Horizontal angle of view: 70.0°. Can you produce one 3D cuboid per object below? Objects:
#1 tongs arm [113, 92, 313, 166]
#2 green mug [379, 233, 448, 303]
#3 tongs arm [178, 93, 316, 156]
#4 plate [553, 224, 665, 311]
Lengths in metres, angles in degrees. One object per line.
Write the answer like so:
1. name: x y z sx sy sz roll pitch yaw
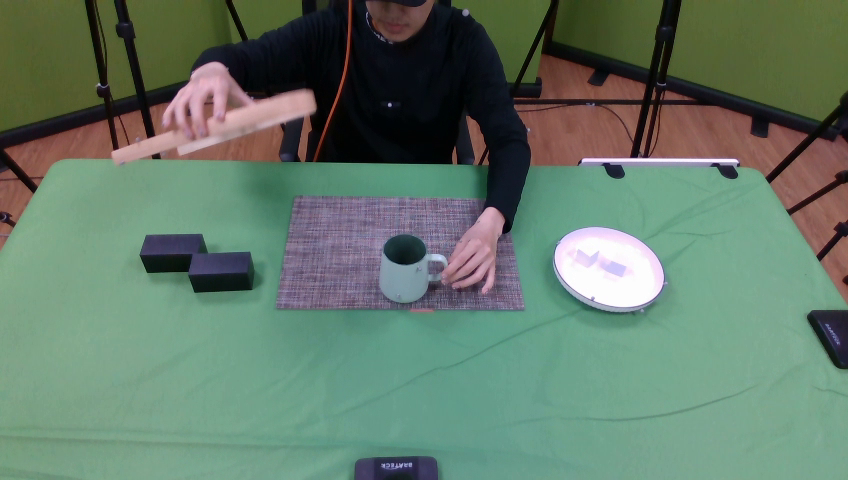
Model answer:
1. tongs arm: -0.336 -0.165 0.928 0.384 0.026 0.051 -9 8 29
2. green mug: -0.019 0.050 1.085 0.125 0.105 0.092 0 46 -4
3. tongs arm: -0.301 -0.182 0.986 0.386 0.028 0.028 -6 6 39
4. plate: 0.349 0.055 1.159 0.209 0.038 0.208 2 47 -2
